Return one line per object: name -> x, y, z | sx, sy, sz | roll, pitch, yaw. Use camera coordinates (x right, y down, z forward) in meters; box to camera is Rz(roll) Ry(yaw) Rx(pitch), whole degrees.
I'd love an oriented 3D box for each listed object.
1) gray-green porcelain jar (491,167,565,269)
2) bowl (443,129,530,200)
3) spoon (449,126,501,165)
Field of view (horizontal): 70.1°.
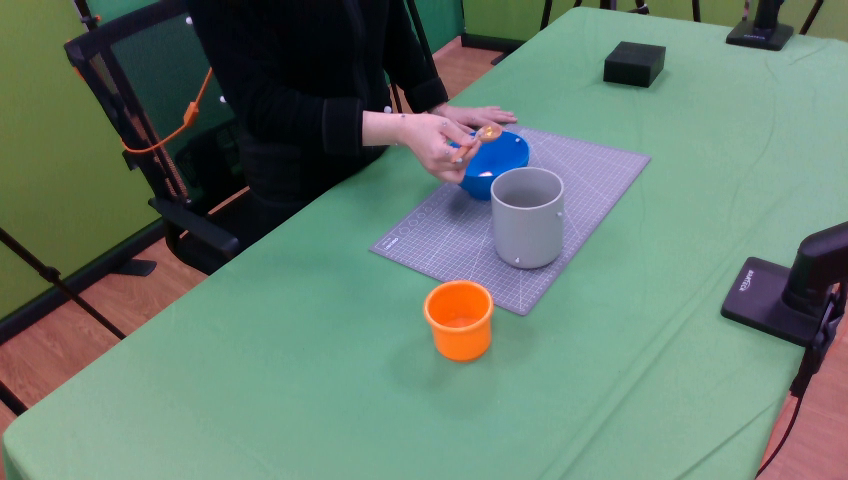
gray-green porcelain jar -> 0.157, -0.029, 0.904 | 0.106, 0.127, 0.105 | -6, 40, 5
bowl -> 0.113, -0.123, 1.063 | 0.151, 0.077, 0.150 | -6, 40, 5
spoon -> 0.073, -0.143, 0.898 | 0.041, 0.021, 0.194 | 10, 23, 21
